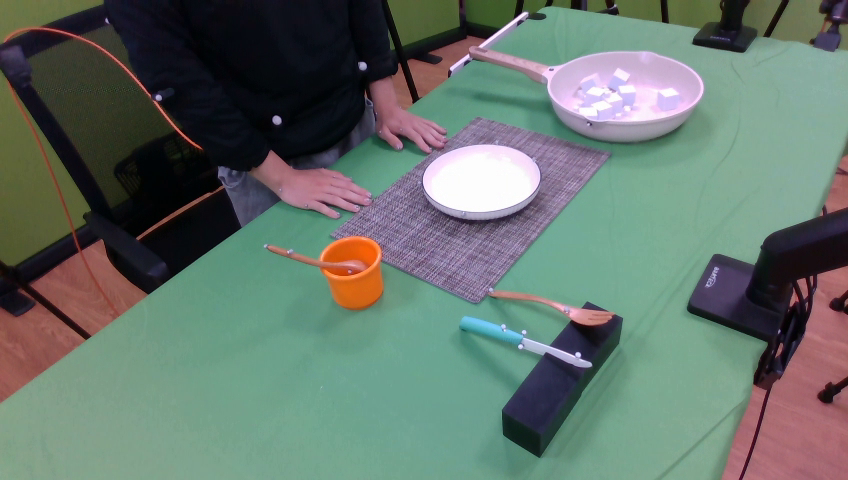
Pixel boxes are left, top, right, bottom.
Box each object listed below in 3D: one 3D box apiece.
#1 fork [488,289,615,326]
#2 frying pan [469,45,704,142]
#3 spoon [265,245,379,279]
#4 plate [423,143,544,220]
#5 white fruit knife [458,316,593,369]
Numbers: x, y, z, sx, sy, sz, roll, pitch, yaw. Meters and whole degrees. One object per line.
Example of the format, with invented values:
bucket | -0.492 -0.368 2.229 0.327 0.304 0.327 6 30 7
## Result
fork | 0.160 0.086 0.800 0.205 0.019 0.028 12 48 48
frying pan | 0.307 -0.326 1.239 0.485 0.103 0.307 26 49 22
spoon | -0.137 0.031 0.846 0.195 0.021 0.041 13 15 -45
plate | 0.102 -0.097 1.048 0.207 0.039 0.206 -4 40 4
white fruit knife | 0.120 0.127 0.757 0.205 0.027 0.016 12 44 43
